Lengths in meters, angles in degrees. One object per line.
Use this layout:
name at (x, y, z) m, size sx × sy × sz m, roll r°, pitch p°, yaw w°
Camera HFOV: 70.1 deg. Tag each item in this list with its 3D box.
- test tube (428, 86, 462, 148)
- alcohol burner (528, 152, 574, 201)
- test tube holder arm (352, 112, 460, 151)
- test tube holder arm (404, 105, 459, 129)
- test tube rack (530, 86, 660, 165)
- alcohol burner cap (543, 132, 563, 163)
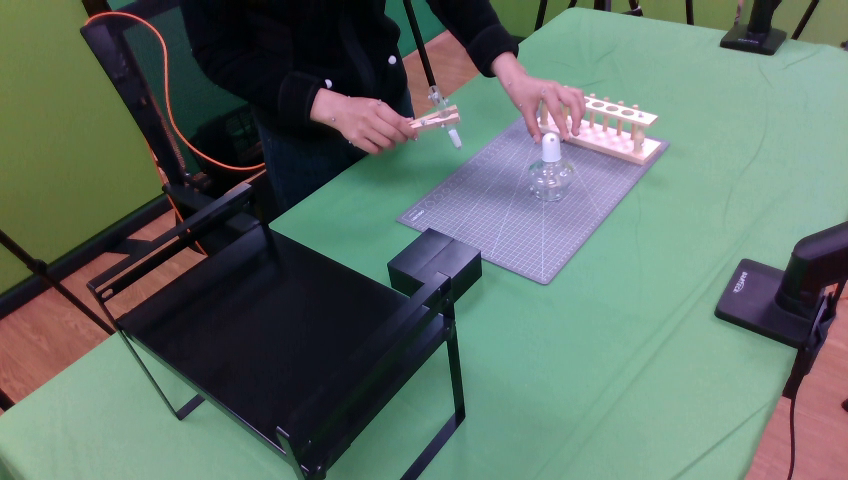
test tube at (0.036, -0.188, 0.945) m, size 0.017 × 0.151 × 0.017 m, roll -8°, pitch 63°, yaw 16°
alcohol burner at (0.214, -0.126, 1.016) m, size 0.078 × 0.119 × 0.077 m, roll -5°, pitch 39°, yaw 5°
test tube holder arm at (-0.030, -0.170, 0.951) m, size 0.178 × 0.015 × 0.013 m, roll -15°, pitch 54°, yaw 12°
test tube holder arm at (0.011, -0.188, 0.946) m, size 0.088 × 0.015 × 0.010 m, roll -21°, pitch 54°, yaw 7°
test tube rack at (0.320, -0.226, 1.140) m, size 0.240 × 0.085 × 0.067 m, roll 26°, pitch 51°, yaw 34°
alcohol burner cap at (0.211, -0.154, 0.994) m, size 0.034 × 0.048 × 0.033 m, roll -7°, pitch 35°, yaw 6°
